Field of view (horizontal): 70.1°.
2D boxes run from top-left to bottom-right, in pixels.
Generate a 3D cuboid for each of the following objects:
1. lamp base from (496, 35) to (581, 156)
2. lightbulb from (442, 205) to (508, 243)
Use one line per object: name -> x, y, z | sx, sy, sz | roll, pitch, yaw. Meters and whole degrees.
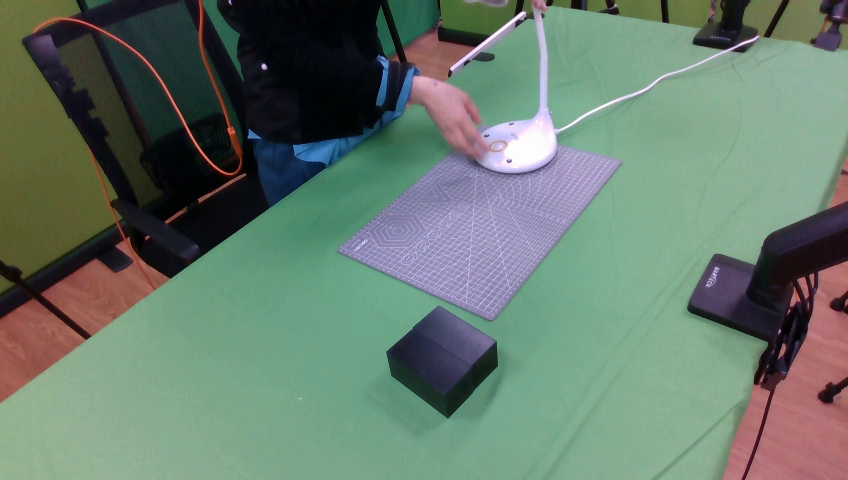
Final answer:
lamp base -> 0.216, -0.272, 1.106 | 0.159, 0.181, 0.180 | 30, 52, 35
lightbulb -> 0.081, -0.019, 0.955 | 0.107, 0.059, 0.059 | 18, 44, 5
